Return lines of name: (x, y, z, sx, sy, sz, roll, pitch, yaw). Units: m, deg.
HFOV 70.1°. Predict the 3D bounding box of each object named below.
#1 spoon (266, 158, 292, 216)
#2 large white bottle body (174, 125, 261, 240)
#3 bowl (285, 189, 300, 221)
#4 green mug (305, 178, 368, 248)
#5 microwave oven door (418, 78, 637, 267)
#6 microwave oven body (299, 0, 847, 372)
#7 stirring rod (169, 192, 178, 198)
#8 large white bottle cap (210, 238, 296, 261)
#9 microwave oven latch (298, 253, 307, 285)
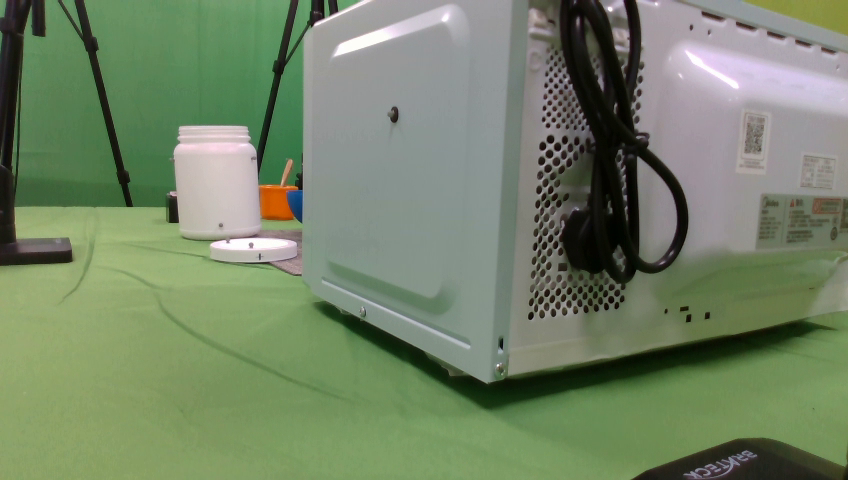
spoon: (-0.334, -0.127, 1.423, 0.041, 0.193, 0.022, -1, -37, 8)
large white bottle body: (-0.349, -0.100, 1.025, 0.131, 0.184, 0.130, -1, 9, 0)
bowl: (-0.180, -0.050, 1.113, 0.151, 0.077, 0.151, 3, 8, 0)
green mug: (-0.134, -0.047, 0.974, 0.092, 0.105, 0.126, 7, 11, 32)
microwave oven door: (0.132, -0.105, 0.894, 0.354, 0.243, 0.039, 9, 10, 43)
microwave oven body: (0.151, -0.055, 0.543, 0.444, 0.260, 0.324, -1, 7, -33)
stirring rod: (-0.465, -0.098, 1.283, 0.014, 0.006, 0.177, 42, 21, 17)
large white bottle cap: (-0.236, 0.012, 0.839, 0.115, 0.018, 0.115, 1, 7, 0)
microwave oven latch: (-0.081, 0.027, 0.583, 0.079, 0.029, 0.030, -2, 7, -33)
